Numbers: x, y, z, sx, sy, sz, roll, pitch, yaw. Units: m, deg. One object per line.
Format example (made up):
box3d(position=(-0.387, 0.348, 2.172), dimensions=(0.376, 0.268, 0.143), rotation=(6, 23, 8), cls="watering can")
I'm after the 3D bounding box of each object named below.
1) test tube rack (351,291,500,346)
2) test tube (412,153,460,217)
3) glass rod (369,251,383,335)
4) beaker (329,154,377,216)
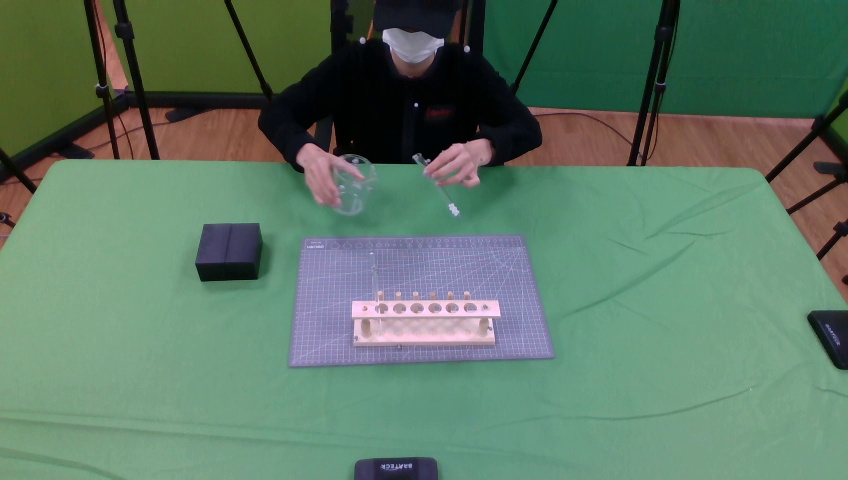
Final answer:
box3d(position=(0.000, 0.129, 1.026), dimensions=(0.242, 0.085, 0.066), rotation=(0, 46, -4), cls="test tube rack")
box3d(position=(0.024, -0.098, 1.100), dimensions=(0.017, 0.151, 0.017), rotation=(-26, 32, 18), cls="test tube")
box3d(position=(-0.075, 0.089, 0.965), dimensions=(0.008, 0.201, 0.008), rotation=(-1, 44, 1), cls="glass rod")
box3d(position=(-0.137, -0.100, 1.144), dimensions=(0.084, 0.100, 0.073), rotation=(18, 49, -4), cls="beaker")
